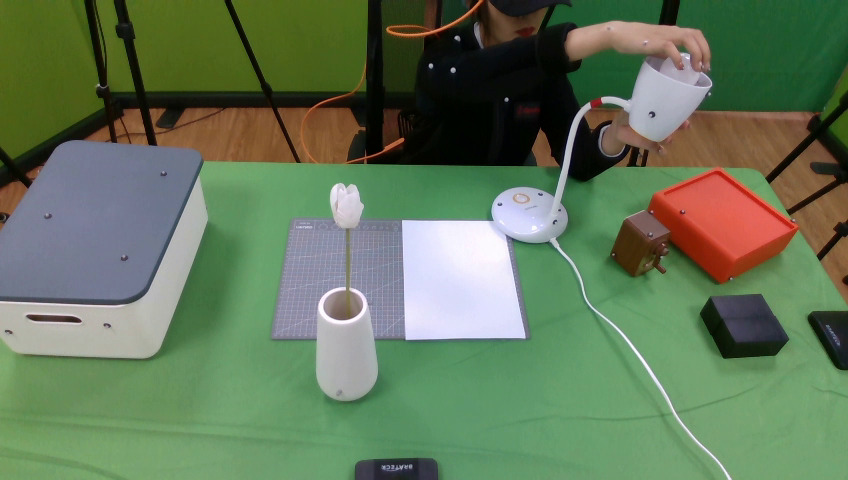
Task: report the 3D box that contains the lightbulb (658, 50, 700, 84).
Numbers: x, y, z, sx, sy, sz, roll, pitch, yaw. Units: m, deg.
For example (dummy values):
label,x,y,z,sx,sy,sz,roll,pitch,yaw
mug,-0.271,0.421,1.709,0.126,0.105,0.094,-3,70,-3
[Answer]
label,x,y,z,sx,sy,sz,roll,pitch,yaw
lightbulb,0.390,-0.243,0.954,0.059,0.108,0.059,18,18,-6

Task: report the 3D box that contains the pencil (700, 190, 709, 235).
label,x,y,z,sx,sy,sz,roll,pitch,yaw
pencil,0.583,-0.058,1.257,0.012,0.012,0.193,16,35,12

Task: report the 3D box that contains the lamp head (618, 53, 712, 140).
label,x,y,z,sx,sy,sz,roll,pitch,yaw
lamp head,0.378,-0.226,0.977,0.112,0.123,0.111,14,40,-12

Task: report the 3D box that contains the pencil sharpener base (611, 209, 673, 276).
label,x,y,z,sx,sy,sz,roll,pitch,yaw
pencil sharpener base,0.416,0.007,1.158,0.061,0.107,0.076,-21,51,-22

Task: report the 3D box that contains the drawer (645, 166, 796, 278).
label,x,y,z,sx,sy,sz,roll,pitch,yaw
drawer,0.600,-0.041,1.236,0.195,0.073,0.210,-21,51,-23

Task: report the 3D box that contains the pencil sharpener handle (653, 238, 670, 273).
label,x,y,z,sx,sy,sz,roll,pitch,yaw
pencil sharpener handle,0.444,0.030,1.120,0.036,0.068,0.030,-25,52,-18

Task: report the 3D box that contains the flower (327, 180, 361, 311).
label,x,y,z,sx,sy,sz,roll,pitch,yaw
flower,-0.111,0.086,0.867,0.044,0.363,0.038,22,33,35

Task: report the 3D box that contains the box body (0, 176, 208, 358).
label,x,y,z,sx,sy,sz,roll,pitch,yaw
box body,-0.546,0.017,1.045,0.254,0.161,0.361,2,46,-2

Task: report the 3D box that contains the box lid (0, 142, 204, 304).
label,x,y,z,sx,sy,sz,roll,pitch,yaw
box lid,-0.534,-0.044,0.995,0.263,0.015,0.369,3,45,-3

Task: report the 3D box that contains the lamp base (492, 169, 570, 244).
label,x,y,z,sx,sy,sz,roll,pitch,yaw
lamp base,0.234,-0.101,1.199,0.161,0.181,0.178,-24,56,-25

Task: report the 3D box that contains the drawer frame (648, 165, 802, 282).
label,x,y,z,sx,sy,sz,roll,pitch,yaw
drawer frame,0.603,-0.040,1.234,0.202,0.083,0.212,-21,51,-23

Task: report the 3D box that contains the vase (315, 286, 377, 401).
label,x,y,z,sx,sy,sz,roll,pitch,yaw
vase,-0.119,0.159,0.911,0.098,0.201,0.097,3,47,-2
